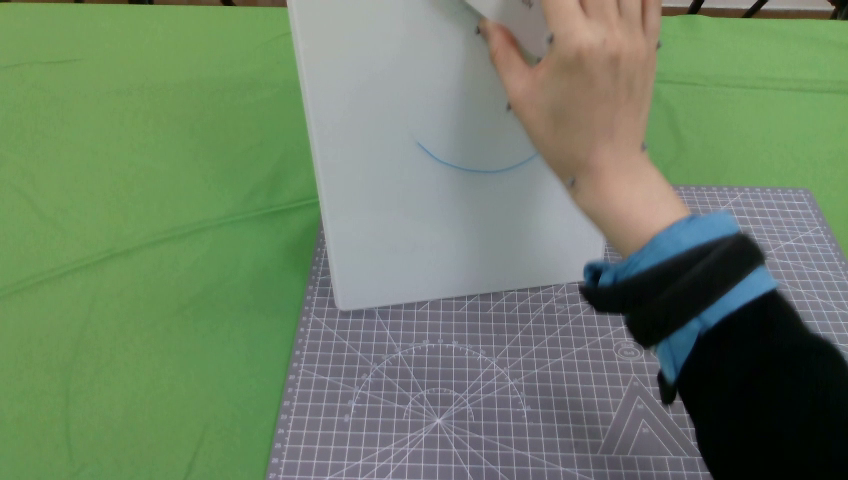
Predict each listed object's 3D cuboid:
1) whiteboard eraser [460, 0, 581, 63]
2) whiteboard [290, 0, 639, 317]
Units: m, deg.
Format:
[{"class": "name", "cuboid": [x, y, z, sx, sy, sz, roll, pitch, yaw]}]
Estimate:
[{"class": "whiteboard eraser", "cuboid": [0.052, -0.146, 0.362, 0.102, 0.041, 0.018, 32, 20, -23]}, {"class": "whiteboard", "cuboid": [0.024, -0.119, 0.461, 0.217, 0.308, 0.142, -6, 30, -5]}]
